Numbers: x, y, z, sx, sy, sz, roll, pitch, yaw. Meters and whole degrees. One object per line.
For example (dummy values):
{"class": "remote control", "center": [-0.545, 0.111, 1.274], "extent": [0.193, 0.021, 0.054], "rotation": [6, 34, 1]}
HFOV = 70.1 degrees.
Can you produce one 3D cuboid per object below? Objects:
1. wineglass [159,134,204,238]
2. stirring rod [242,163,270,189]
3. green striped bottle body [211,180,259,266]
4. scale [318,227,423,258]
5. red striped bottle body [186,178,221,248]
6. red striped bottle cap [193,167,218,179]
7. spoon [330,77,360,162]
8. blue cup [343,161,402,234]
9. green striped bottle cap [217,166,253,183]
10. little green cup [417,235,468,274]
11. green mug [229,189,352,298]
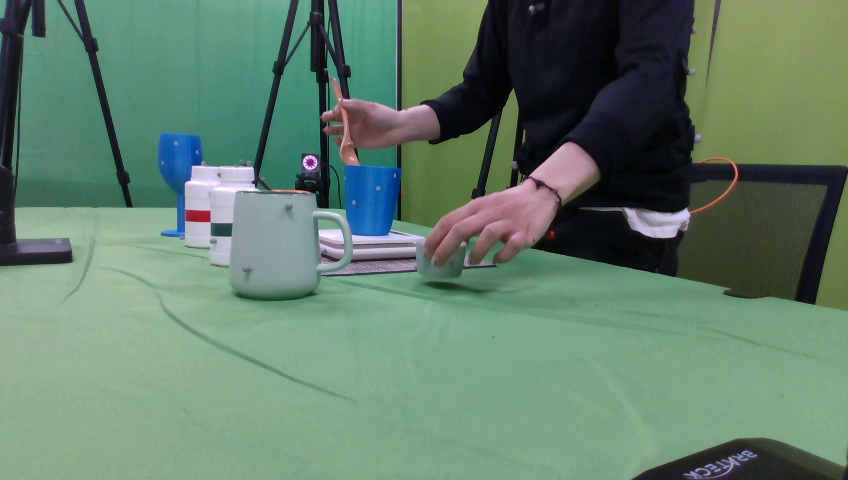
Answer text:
{"class": "wineglass", "center": [-0.415, -0.093, 1.040], "extent": [0.074, 0.172, 0.073], "rotation": [2, 7, 0]}
{"class": "stirring rod", "center": [-0.298, -0.091, 1.198], "extent": [0.014, 0.006, 0.177], "rotation": [10, -31, 45]}
{"class": "green striped bottle body", "center": [-0.243, -0.029, 0.784], "extent": [0.063, 0.119, 0.063], "rotation": [2, 7, 0]}
{"class": "scale", "center": [-0.067, 0.001, 0.906], "extent": [0.202, 0.031, 0.148], "rotation": [-2, 8, -31]}
{"class": "red striped bottle body", "center": [-0.331, -0.050, 0.927], "extent": [0.063, 0.119, 0.063], "rotation": [2, 6, 0]}
{"class": "red striped bottle cap", "center": [-0.329, -0.103, 0.921], "extent": [0.044, 0.017, 0.044], "rotation": [-1, 9, 0]}
{"class": "spoon", "center": [-0.137, -0.204, 1.041], "extent": [0.021, 0.193, 0.042], "rotation": [-27, -26, 35]}
{"class": "blue cup", "center": [-0.077, -0.062, 0.883], "extent": [0.093, 0.100, 0.092], "rotation": [3, 6, 0]}
{"class": "green striped bottle cap", "center": [-0.242, -0.085, 0.777], "extent": [0.044, 0.020, 0.044], "rotation": [2, 9, 0]}
{"class": "little green cup", "center": [0.021, 0.016, 0.704], "extent": [0.061, 0.038, 0.061], "rotation": [3, 7, 0]}
{"class": "green mug", "center": [-0.135, 0.002, 0.618], "extent": [0.125, 0.105, 0.092], "rotation": [2, 7, 4]}
